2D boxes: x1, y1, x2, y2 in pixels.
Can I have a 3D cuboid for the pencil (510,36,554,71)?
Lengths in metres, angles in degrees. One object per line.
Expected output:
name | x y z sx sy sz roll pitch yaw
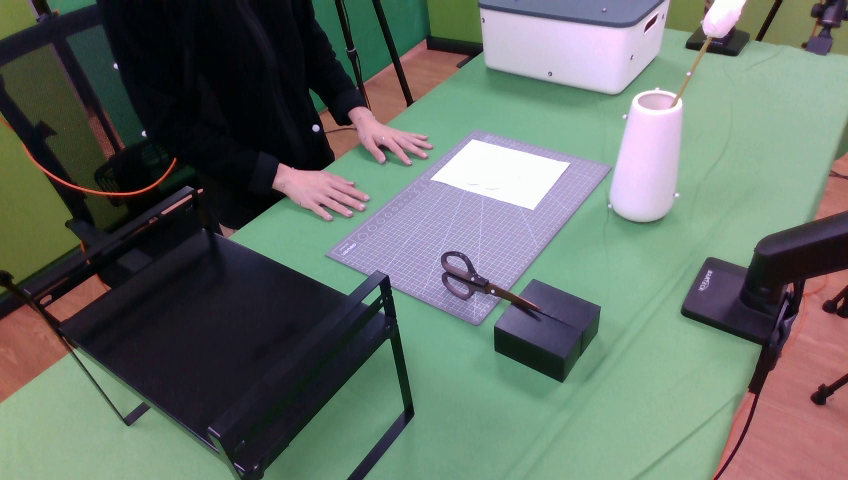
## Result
pencil | 0.263 -0.453 1.469 0.012 0.012 0.194 25 52 32

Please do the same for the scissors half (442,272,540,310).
scissors half | 0.089 0.074 0.832 0.013 0.040 0.173 -24 23 -38

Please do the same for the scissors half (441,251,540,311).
scissors half | 0.087 0.056 0.824 0.013 0.040 0.173 -30 44 -35

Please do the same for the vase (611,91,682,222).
vase | 0.348 -0.125 0.935 0.098 0.201 0.097 -3 40 3

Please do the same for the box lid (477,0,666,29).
box lid | 0.332 -0.535 1.333 0.368 0.015 0.264 22 48 31

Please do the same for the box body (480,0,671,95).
box body | 0.339 -0.480 1.381 0.361 0.161 0.255 22 48 30

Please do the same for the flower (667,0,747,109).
flower | 0.354 -0.187 0.879 0.038 0.362 0.044 30 48 14
